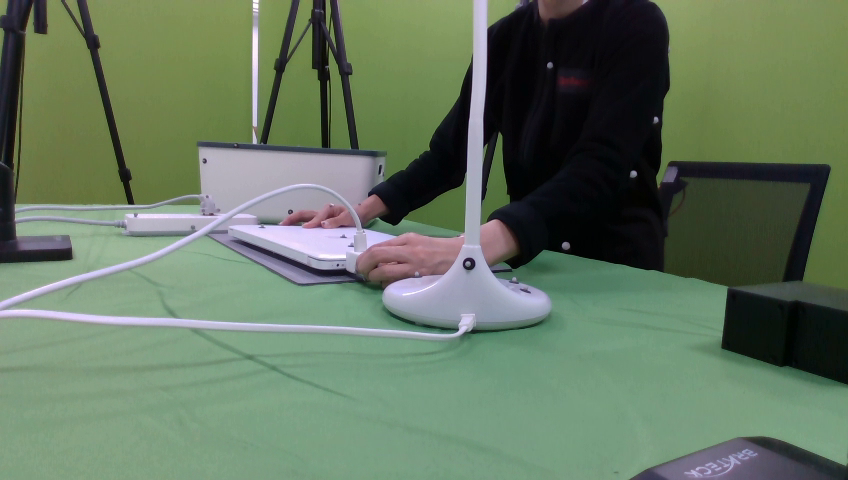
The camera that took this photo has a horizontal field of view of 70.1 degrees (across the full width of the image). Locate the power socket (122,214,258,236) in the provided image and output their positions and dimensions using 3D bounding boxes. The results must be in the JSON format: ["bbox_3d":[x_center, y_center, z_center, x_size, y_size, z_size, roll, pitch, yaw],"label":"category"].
[{"bbox_3d":[-0.398,-0.028,1.049,0.228,0.032,0.072,-3,8,-34],"label":"power socket"}]

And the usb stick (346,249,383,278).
[{"bbox_3d":[-0.071,0.026,0.687,0.021,0.027,0.059,-13,11,-36],"label":"usb stick"}]

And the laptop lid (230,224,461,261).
[{"bbox_3d":[-0.119,0.001,0.889,0.243,0.013,0.355,1,7,-34],"label":"laptop lid"}]

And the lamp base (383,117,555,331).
[{"bbox_3d":[0.045,-0.019,0.547,0.161,0.180,0.179,2,10,-4],"label":"lamp base"}]

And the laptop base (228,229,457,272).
[{"bbox_3d":[-0.121,0.012,0.889,0.237,0.023,0.352,1,6,-35],"label":"laptop base"}]

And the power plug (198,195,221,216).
[{"bbox_3d":[-0.387,-0.055,1.089,0.035,0.052,0.072,-1,6,-22],"label":"power plug"}]

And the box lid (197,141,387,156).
[{"bbox_3d":[-0.275,-0.198,1.325,0.372,0.015,0.263,3,8,1],"label":"box lid"}]

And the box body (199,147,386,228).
[{"bbox_3d":[-0.276,-0.124,1.334,0.364,0.160,0.254,3,7,1],"label":"box body"}]
